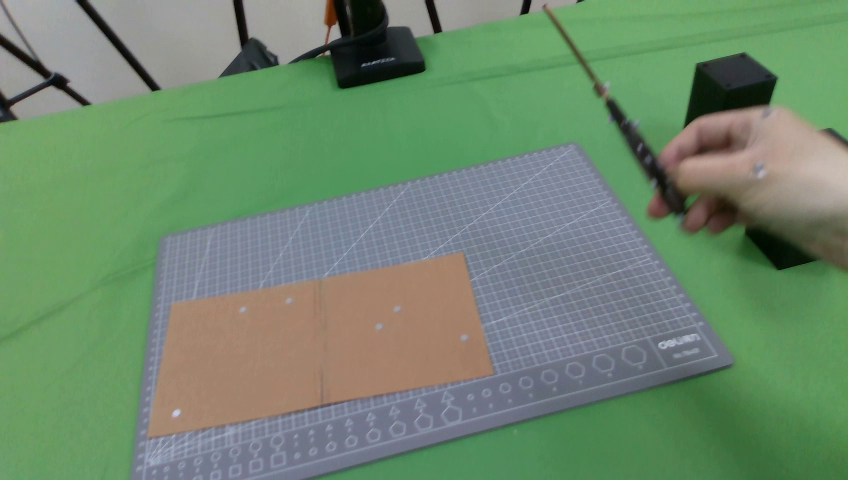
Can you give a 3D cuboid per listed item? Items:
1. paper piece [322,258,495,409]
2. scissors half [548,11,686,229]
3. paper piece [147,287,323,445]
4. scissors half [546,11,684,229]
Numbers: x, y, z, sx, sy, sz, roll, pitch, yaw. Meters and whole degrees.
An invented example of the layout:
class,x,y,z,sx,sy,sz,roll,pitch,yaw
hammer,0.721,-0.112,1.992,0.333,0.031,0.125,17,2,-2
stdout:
class,x,y,z,sx,sy,sz,roll,pitch,yaw
paper piece,-0.020,0.073,0.508,0.136,0.004,0.134,-9,43,-1
scissors half,0.130,-0.085,0.416,0.013,0.175,0.040,-32,-4,24
paper piece,-0.151,0.097,0.505,0.138,0.009,0.134,-10,40,0
scissors half,0.122,-0.085,0.398,0.013,0.040,0.174,-31,70,18
